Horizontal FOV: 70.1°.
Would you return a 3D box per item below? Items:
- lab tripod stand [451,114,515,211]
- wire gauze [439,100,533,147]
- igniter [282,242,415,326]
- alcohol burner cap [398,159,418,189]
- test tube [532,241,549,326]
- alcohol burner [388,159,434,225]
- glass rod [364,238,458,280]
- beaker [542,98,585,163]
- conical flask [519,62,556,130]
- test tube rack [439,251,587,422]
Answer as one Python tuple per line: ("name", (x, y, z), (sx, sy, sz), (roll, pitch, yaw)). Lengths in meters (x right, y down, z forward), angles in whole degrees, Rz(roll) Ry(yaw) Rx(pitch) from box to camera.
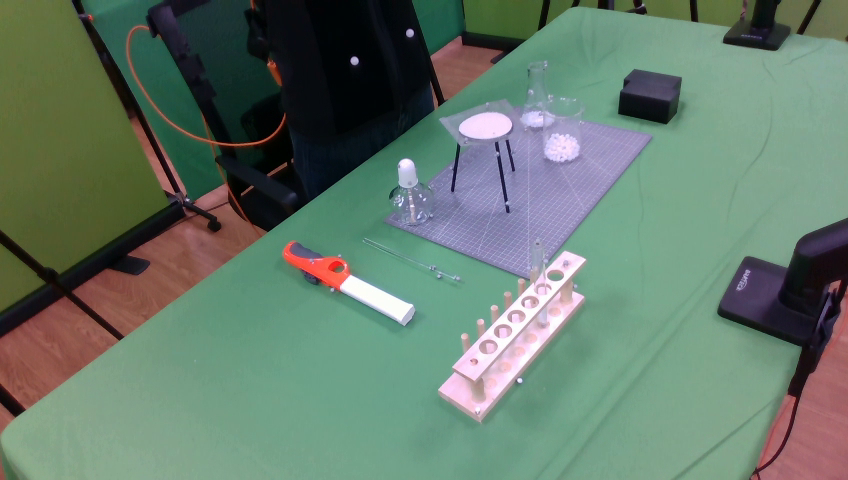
("lab tripod stand", (0.113, -0.140, 1.037), (0.148, 0.132, 0.147), (-6, 38, 5))
("wire gauze", (0.100, -0.190, 0.994), (0.125, 0.011, 0.120), (-15, 39, -7))
("igniter", (-0.126, 0.062, 0.931), (0.274, 0.025, 0.057), (24, 60, 33))
("alcohol burner cap", (-0.028, -0.111, 0.988), (0.034, 0.048, 0.033), (-3, 47, 4))
("test tube", (0.147, 0.059, 0.760), (0.017, 0.151, 0.017), (-7, 44, 7))
("alcohol burner", (-0.023, -0.084, 1.013), (0.078, 0.119, 0.077), (-4, 38, 4))
("glass rod", (-0.026, 0.029, 0.966), (0.198, 0.008, 0.008), (21, 49, 35))
("beaker", (0.255, -0.200, 1.107), (0.073, 0.101, 0.084), (9, 43, 21))
("conical flask", (0.225, -0.287, 1.198), (0.075, 0.122, 0.075), (-6, 40, 5))
("test tube rack", (0.118, 0.111, 0.780), (0.066, 0.085, 0.243), (26, 51, 35))
